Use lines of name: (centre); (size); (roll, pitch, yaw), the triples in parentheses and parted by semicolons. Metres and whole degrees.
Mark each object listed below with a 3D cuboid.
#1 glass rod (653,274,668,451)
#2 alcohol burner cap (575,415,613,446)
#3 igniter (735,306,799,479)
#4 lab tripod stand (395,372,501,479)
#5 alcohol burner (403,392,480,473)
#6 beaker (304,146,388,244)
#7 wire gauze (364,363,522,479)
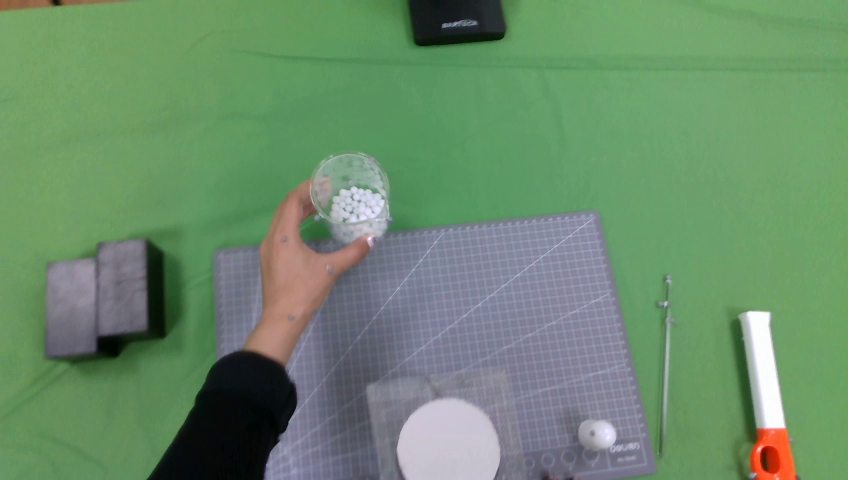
glass rod: (0.265, 0.133, 0.679); (0.008, 0.008, 0.198); (10, 74, -1)
alcohol burner cap: (0.179, 0.199, 0.634); (0.034, 0.048, 0.033); (1, 72, -2)
igniter: (0.371, 0.208, 0.654); (0.057, 0.025, 0.275); (5, 73, -14)
lab tripod stand: (0.015, 0.193, 0.576); (0.148, 0.132, 0.147); (1, 72, -2)
alcohol burner: (0.018, 0.186, 0.589); (0.078, 0.119, 0.077); (1, 71, -3)
beaker: (-0.070, -0.038, 0.605); (0.084, 0.100, 0.074); (36, 78, 7)
wire gauze: (0.018, 0.171, 0.512); (0.125, 0.011, 0.120); (-7, 73, -7)
